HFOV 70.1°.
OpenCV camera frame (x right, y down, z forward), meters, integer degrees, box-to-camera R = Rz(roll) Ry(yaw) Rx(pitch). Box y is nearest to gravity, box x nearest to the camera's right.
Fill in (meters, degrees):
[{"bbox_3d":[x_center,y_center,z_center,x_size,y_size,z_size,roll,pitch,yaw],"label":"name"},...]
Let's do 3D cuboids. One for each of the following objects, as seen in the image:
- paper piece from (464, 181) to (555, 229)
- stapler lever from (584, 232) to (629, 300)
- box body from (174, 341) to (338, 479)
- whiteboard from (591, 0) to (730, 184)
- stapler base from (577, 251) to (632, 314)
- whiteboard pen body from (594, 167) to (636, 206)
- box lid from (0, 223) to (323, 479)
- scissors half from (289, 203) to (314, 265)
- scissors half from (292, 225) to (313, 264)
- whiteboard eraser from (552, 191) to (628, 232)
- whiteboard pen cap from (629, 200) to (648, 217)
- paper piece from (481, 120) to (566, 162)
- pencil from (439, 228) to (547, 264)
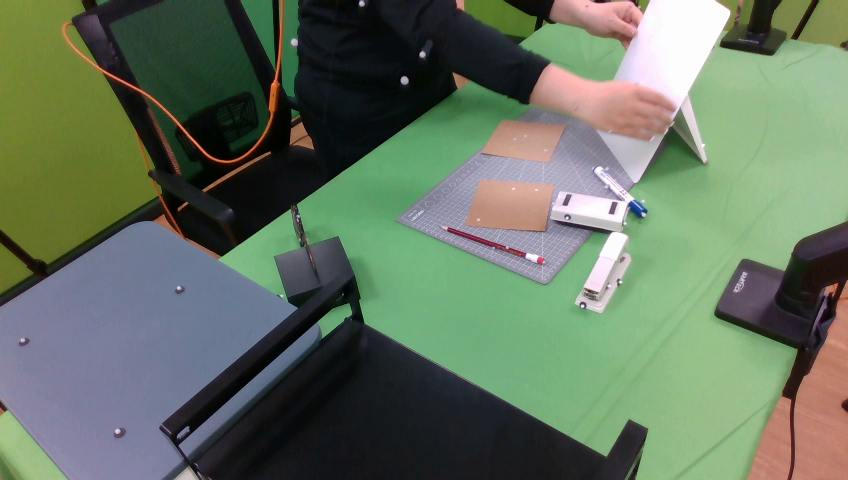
[{"bbox_3d":[0.149,-0.062,1.034,0.137,0.009,0.136,4,37,17],"label":"paper piece"},{"bbox_3d":[0.260,0.034,0.858,0.026,0.040,0.118,16,46,30],"label":"stapler lever"},{"bbox_3d":[-0.311,0.165,0.720,0.361,0.161,0.255,23,48,32],"label":"box body"},{"bbox_3d":[0.451,-0.270,1.054,0.144,0.305,0.216,7,37,-14],"label":"whiteboard"},{"bbox_3d":[0.264,0.051,0.875,0.041,0.024,0.131,16,47,30],"label":"stapler base"},{"bbox_3d":[0.330,-0.086,1.026,0.017,0.017,0.139,-16,40,-10],"label":"whiteboard pen body"},{"bbox_3d":[-0.318,0.109,0.671,0.368,0.015,0.264,24,50,31],"label":"box lid"},{"bbox_3d":[-0.191,-0.010,0.945,0.013,0.040,0.173,-15,38,-16],"label":"scissors half"},{"bbox_3d":[-0.189,0.008,0.955,0.013,0.040,0.174,-19,21,-13],"label":"scissors half"},{"bbox_3d":[0.266,-0.043,0.967,0.112,0.042,0.055,11,43,21],"label":"whiteboard eraser"},{"bbox_3d":[0.347,-0.052,0.983,0.018,0.018,0.033,-18,43,-12],"label":"whiteboard pen cap"},{"bbox_3d":[0.197,-0.198,1.188,0.135,0.004,0.135,11,44,21],"label":"paper piece"},{"bbox_3d":[0.105,0.007,0.957,0.192,0.012,0.012,18,46,30],"label":"pencil"}]
